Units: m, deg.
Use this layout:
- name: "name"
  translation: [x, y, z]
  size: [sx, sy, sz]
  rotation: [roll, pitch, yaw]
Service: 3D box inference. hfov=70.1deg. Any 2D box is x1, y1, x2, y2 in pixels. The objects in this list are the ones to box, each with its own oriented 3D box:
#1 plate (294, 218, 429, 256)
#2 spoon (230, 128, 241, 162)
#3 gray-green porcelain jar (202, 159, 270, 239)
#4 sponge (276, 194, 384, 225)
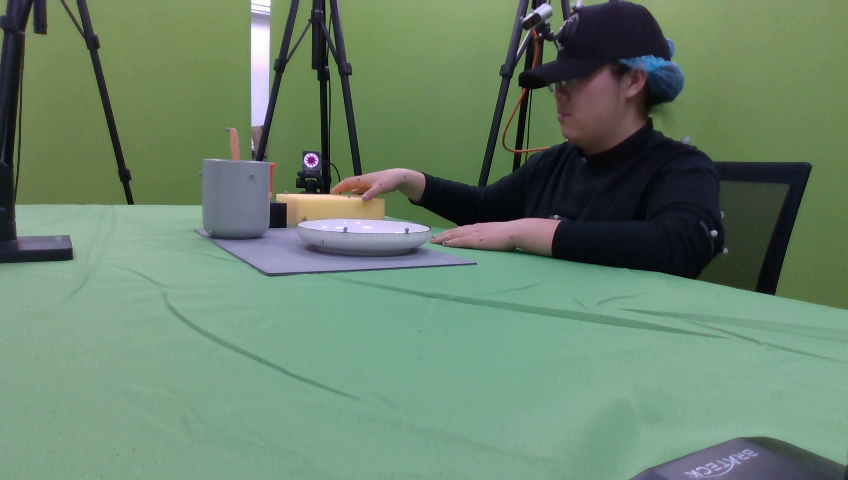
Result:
- name: "plate"
  translation: [-0.096, -0.005, 0.936]
  size: [0.208, 0.039, 0.207]
  rotation: [3, 7, 0]
- name: "spoon"
  translation: [-0.314, -0.109, 1.025]
  size: [0.042, 0.193, 0.021]
  rotation: [-5, -19, -16]
- name: "gray-green porcelain jar"
  translation: [-0.310, -0.068, 0.999]
  size: [0.106, 0.126, 0.106]
  rotation: [3, 8, 0]
- name: "sponge"
  translation: [-0.202, -0.067, 1.312]
  size: [0.208, 0.061, 0.117]
  rotation: [-3, 9, -35]
